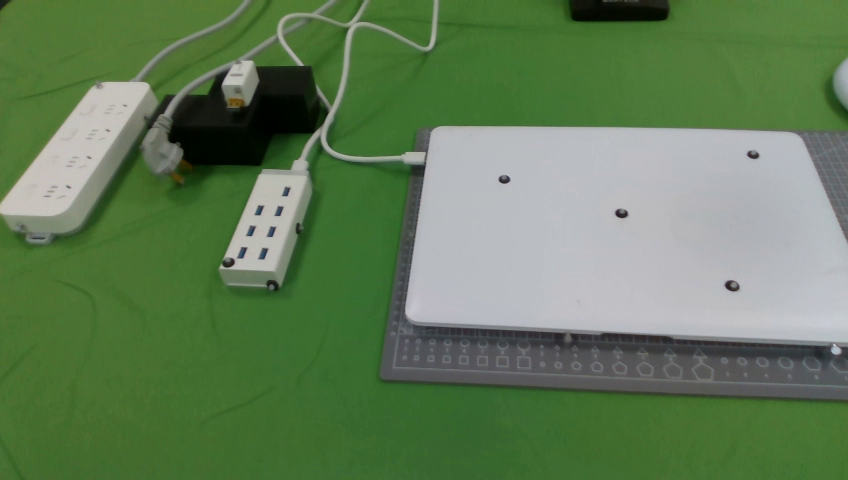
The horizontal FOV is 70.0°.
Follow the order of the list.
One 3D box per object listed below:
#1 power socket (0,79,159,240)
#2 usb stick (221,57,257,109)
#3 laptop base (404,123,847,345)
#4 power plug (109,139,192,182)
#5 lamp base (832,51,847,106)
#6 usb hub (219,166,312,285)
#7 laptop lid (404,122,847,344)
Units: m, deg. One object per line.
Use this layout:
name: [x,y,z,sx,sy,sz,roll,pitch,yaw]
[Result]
power socket: [-0.345,-0.094,0.621,0.072,0.033,0.224,3,49,6]
usb stick: [-0.185,-0.154,0.600,0.021,0.027,0.058,2,52,3]
laptop base: [0.169,-0.016,0.530,0.354,0.023,0.233,2,53,5]
power plug: [-0.266,-0.075,0.597,0.072,0.053,0.035,-11,48,39]
lamp base: [0.511,-0.214,0.572,0.159,0.182,0.179,30,55,27]
usb hub: [-0.140,-0.017,0.546,0.049,0.025,0.124,2,49,7]
laptop lid: [0.168,-0.022,0.519,0.356,0.013,0.239,3,52,7]
